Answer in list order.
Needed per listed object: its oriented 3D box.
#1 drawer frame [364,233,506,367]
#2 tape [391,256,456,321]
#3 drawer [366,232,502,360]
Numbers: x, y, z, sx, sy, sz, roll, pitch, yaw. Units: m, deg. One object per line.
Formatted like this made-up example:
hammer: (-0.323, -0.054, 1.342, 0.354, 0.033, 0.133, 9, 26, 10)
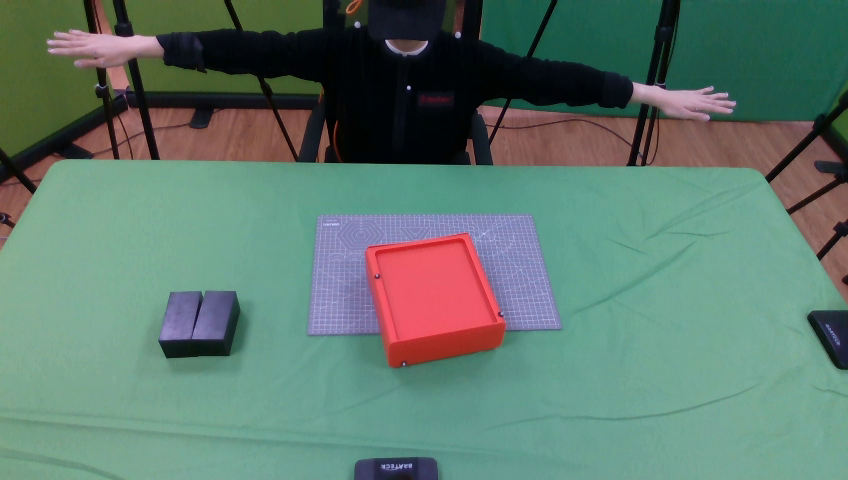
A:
drawer frame: (0.013, 0.098, 1.058, 0.202, 0.083, 0.212, -9, 48, -12)
tape: (0.000, 0.086, 1.075, 0.117, 0.053, 0.116, 2, 44, -2)
drawer: (0.011, 0.093, 1.064, 0.195, 0.073, 0.210, -8, 48, -12)
